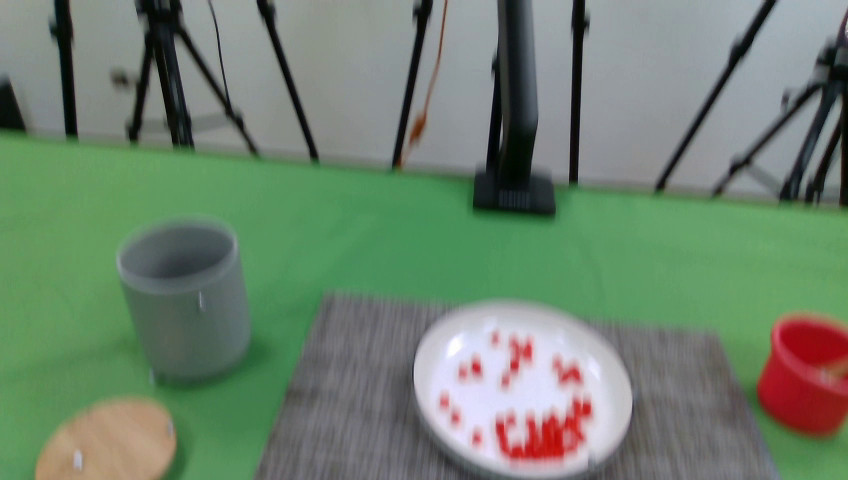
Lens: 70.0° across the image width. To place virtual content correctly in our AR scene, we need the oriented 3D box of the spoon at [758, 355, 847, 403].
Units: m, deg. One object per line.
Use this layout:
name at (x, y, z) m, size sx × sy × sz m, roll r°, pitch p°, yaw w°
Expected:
spoon at (0.413, 0.109, 0.565) m, size 0.194 × 0.022 × 0.041 m, roll -33°, pitch 23°, yaw 27°

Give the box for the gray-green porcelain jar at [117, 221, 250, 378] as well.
gray-green porcelain jar at (-0.228, 0.062, 0.591) m, size 0.106 × 0.127 × 0.105 m, roll 3°, pitch 35°, yaw -2°

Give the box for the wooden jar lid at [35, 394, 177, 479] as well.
wooden jar lid at (-0.266, 0.178, 0.514) m, size 0.108 × 0.021 × 0.107 m, roll 4°, pitch 35°, yaw -2°

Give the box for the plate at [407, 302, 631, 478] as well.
plate at (0.087, 0.140, 0.579) m, size 0.208 × 0.039 × 0.205 m, roll 3°, pitch 35°, yaw -1°
